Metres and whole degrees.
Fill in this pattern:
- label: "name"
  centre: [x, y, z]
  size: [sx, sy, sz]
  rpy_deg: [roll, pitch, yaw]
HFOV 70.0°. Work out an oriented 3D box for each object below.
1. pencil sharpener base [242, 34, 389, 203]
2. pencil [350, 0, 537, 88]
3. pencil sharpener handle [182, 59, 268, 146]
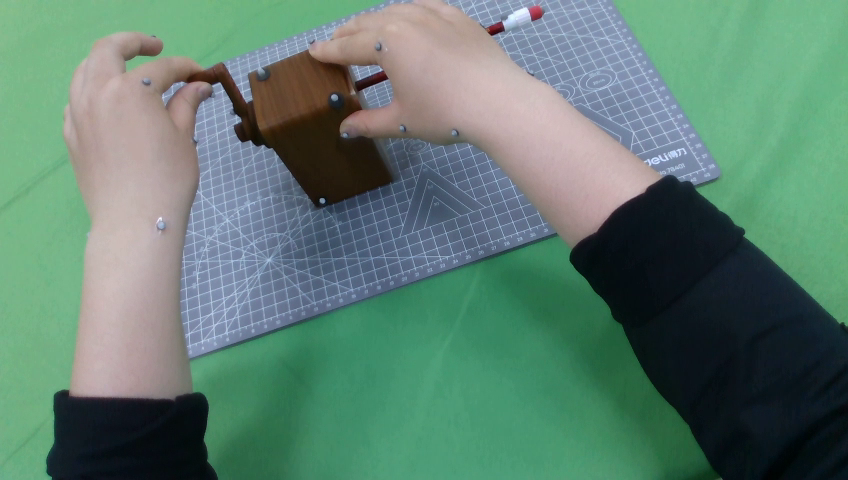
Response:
- label: "pencil sharpener base"
  centre: [-0.080, -0.086, 0.458]
  size: [0.077, 0.108, 0.061]
  rpy_deg: [-22, 60, 2]
- label: "pencil"
  centre: [-0.011, -0.128, 0.428]
  size: [0.194, 0.012, 0.012]
  rpy_deg: [-22, 60, 3]
- label: "pencil sharpener handle"
  centre: [-0.139, -0.092, 0.426]
  size: [0.030, 0.068, 0.035]
  rpy_deg: [-22, 34, 2]
